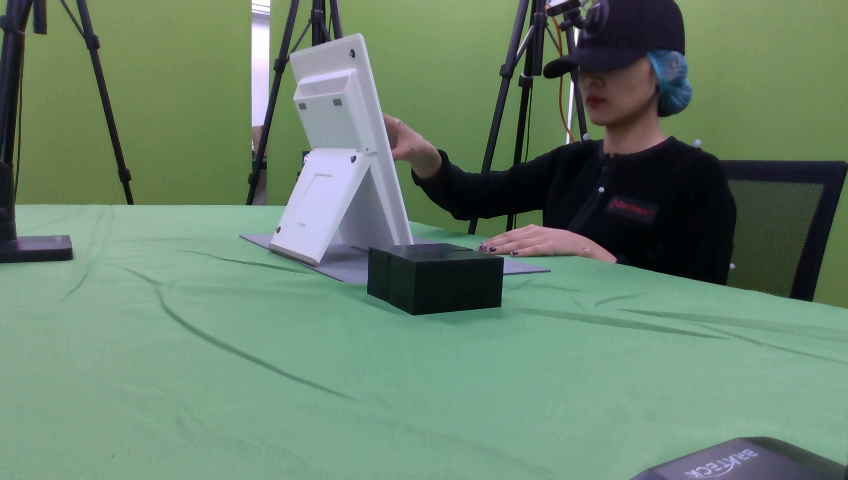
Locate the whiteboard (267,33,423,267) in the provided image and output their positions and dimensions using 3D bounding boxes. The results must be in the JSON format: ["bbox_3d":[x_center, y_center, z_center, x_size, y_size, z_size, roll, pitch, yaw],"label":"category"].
[{"bbox_3d":[-0.153,-0.097,0.819,0.144,0.305,0.216,-25,21,-29],"label":"whiteboard"}]

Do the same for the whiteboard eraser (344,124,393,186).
[{"bbox_3d":[-0.093,-0.137,1.006,0.055,0.113,0.042,5,47,23],"label":"whiteboard eraser"}]
